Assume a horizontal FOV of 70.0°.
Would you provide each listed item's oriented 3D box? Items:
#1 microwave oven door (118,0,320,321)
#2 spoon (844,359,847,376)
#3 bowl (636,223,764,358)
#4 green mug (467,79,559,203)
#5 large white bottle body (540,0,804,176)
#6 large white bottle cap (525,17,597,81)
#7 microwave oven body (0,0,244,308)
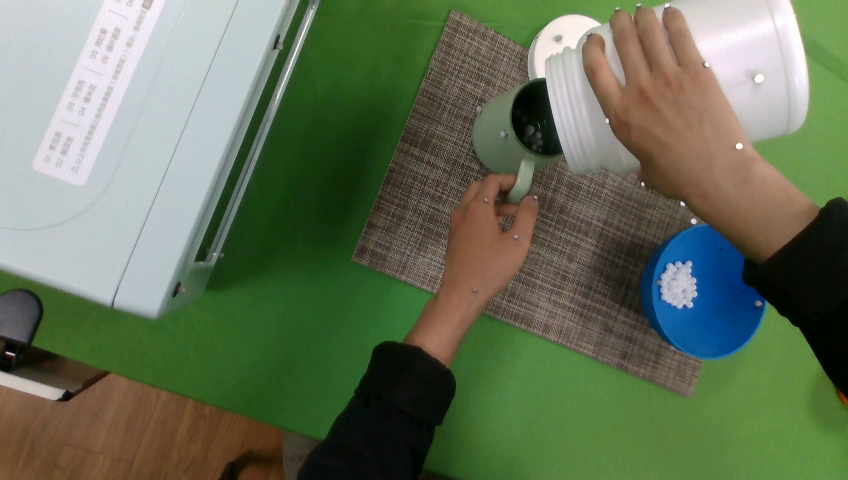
[{"bbox_3d":[-0.143,-0.116,0.488,0.039,0.243,0.355,21,83,-13],"label":"microwave oven door"},{"bbox_3d":[0.617,0.217,0.753,0.041,0.191,0.022,-30,140,-18],"label":"spoon"},{"bbox_3d":[0.303,0.057,0.703,0.152,0.076,0.151,1,88,-14],"label":"bowl"},{"bbox_3d":[0.098,-0.100,0.637,0.093,0.104,0.125,14,85,-15],"label":"green mug"},{"bbox_3d":[0.202,-0.129,0.516,0.184,0.131,0.130,-13,92,21],"label":"large white bottle body"},{"bbox_3d":[0.173,-0.200,0.704,0.115,0.018,0.114,1,88,-16],"label":"large white bottle cap"},{"bbox_3d":[-0.263,-0.207,0.462,0.327,0.259,0.441,22,84,-14],"label":"microwave oven body"}]
